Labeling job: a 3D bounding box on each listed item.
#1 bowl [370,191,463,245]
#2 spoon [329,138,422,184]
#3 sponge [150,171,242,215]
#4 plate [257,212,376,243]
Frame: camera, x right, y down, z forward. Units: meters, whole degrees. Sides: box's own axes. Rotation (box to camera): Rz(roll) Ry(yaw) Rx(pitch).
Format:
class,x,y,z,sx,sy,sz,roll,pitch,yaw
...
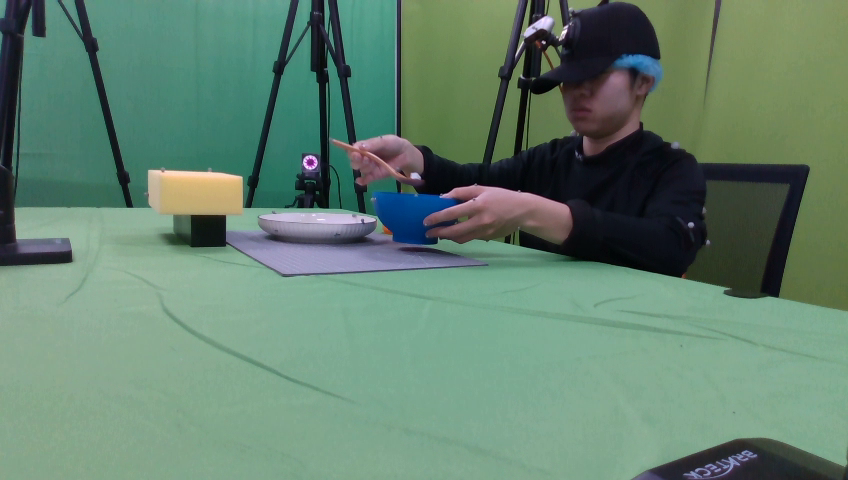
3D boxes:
class,x,y,z,sx,sy,sz,roll,pitch,yaw
bowl,-0.015,-0.035,0.973,0.151,0.077,0.151,4,5,0
spoon,-0.085,-0.136,1.021,0.193,0.021,0.042,31,11,23
sponge,-0.379,-0.079,0.994,0.119,0.061,0.206,-1,8,-29
plate,-0.189,-0.023,1.072,0.209,0.038,0.209,3,7,0
